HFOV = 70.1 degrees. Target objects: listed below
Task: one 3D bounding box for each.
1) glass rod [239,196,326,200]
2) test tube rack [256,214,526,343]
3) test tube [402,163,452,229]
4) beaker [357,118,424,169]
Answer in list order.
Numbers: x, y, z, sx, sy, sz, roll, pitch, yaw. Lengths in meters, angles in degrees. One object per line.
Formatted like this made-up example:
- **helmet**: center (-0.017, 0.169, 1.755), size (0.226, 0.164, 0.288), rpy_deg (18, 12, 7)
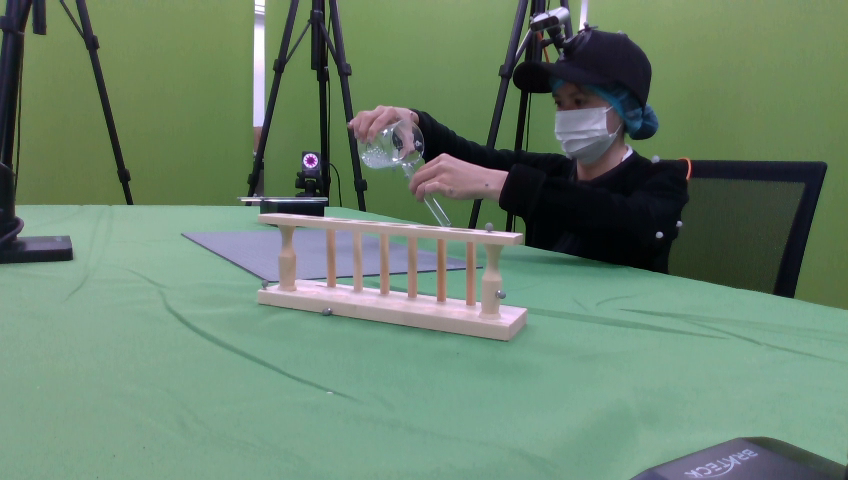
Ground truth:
- **glass rod**: center (-0.288, -0.087, 1.250), size (0.201, 0.008, 0.008), rpy_deg (-4, 10, -42)
- **test tube rack**: center (-0.032, 0.027, 0.547), size (0.241, 0.085, 0.067), rpy_deg (6, 7, 22)
- **test tube**: center (0.004, -0.068, 0.959), size (0.017, 0.017, 0.149), rpy_deg (-3, 48, -39)
- **beaker**: center (-0.060, -0.158, 1.031), size (0.074, 0.084, 0.100), rpy_deg (2, -2, -42)
